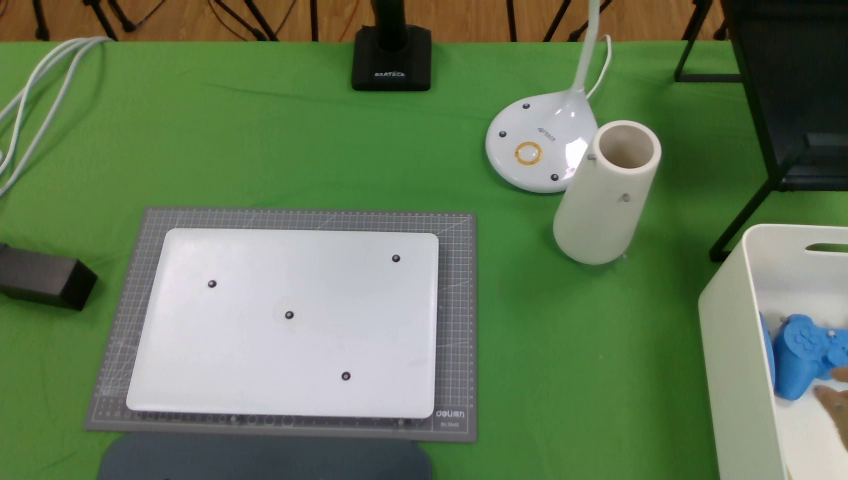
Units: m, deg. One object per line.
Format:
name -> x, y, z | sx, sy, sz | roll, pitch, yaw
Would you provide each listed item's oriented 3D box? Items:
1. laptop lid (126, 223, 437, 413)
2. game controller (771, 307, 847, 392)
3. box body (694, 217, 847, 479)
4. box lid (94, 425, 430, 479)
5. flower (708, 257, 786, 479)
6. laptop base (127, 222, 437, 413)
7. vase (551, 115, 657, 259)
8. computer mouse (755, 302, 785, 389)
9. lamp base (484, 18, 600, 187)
laptop lid -> -0.163, 0.086, 0.730 | 0.356, 0.013, 0.240 | 2, 65, 3
game controller -> 0.473, 0.126, 0.688 | 0.155, 0.052, 0.096 | 4, 61, 2
box body -> 0.434, 0.177, 0.604 | 0.254, 0.161, 0.361 | 3, 63, 3
box lid -> -0.182, 0.330, 0.627 | 0.371, 0.015, 0.261 | 1, 63, 2
flower -> 0.367, 0.193, 0.649 | 0.038, 0.044, 0.359 | -21, 69, 39
laptop base -> -0.163, 0.089, 0.742 | 0.354, 0.023, 0.233 | 1, 67, 2
vase -> 0.207, -0.057, 0.707 | 0.098, 0.201, 0.097 | -1, 62, 3
computer mouse -> 0.368, 0.116, 0.698 | 0.063, 0.041, 0.116 | -3, 55, 3
lamp base -> 0.169, -0.188, 0.784 | 0.160, 0.181, 0.178 | 32, 66, 16
